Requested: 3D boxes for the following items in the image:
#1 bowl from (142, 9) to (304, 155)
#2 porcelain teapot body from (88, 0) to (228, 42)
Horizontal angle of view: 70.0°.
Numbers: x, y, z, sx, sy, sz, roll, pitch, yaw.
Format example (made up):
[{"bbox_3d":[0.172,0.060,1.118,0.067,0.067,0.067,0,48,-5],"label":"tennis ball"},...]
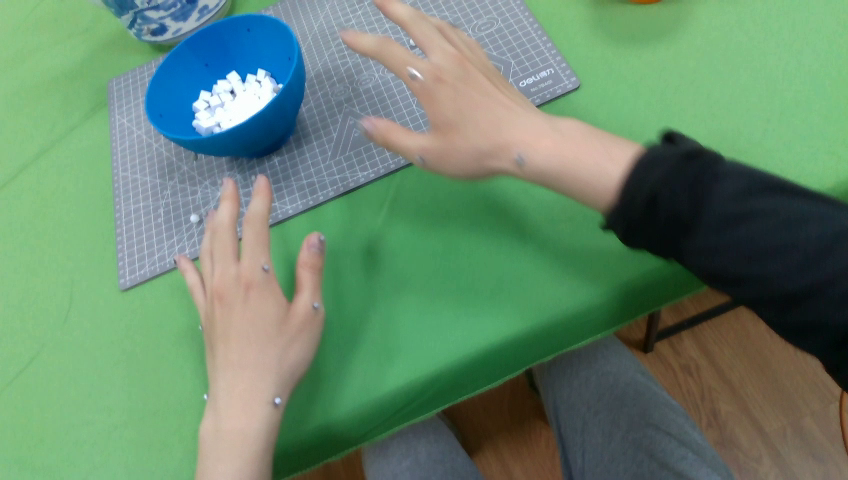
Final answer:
[{"bbox_3d":[-0.172,-0.133,0.568,0.151,0.077,0.150,-7,60,13],"label":"bowl"},{"bbox_3d":[-0.343,-0.327,0.643,0.205,0.227,0.144,-12,59,10],"label":"porcelain teapot body"}]
